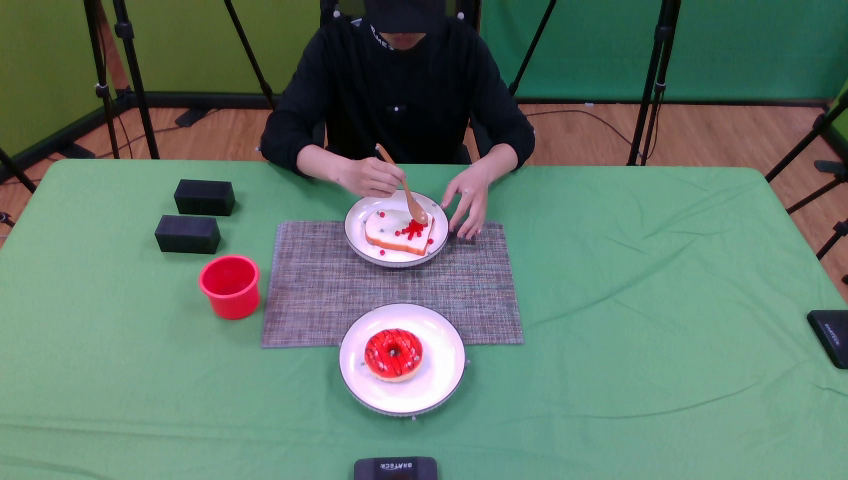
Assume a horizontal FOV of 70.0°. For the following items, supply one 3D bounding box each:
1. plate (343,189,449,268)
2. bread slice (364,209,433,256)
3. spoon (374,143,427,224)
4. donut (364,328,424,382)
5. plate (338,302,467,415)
[{"bbox_3d":[-0.055,-0.019,1.195,0.209,0.038,0.208,3,46,-2],"label":"plate"},{"bbox_3d":[-0.054,-0.019,1.200,0.131,0.019,0.104,11,46,2],"label":"bread slice"},{"bbox_3d":[-0.042,-0.106,1.147,0.021,0.195,0.041,-7,39,29],"label":"spoon"},{"bbox_3d":[-0.049,0.185,0.984,0.099,0.048,0.098,1,45,-1],"label":"donut"},{"bbox_3d":[-0.035,0.194,0.992,0.208,0.039,0.206,2,48,-2],"label":"plate"}]
